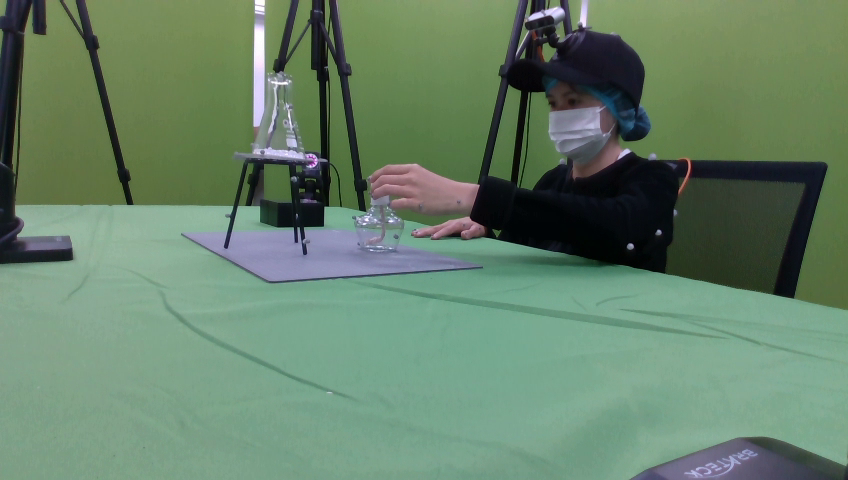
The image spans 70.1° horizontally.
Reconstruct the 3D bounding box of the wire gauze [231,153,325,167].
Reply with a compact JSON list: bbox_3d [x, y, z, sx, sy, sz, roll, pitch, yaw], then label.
[{"bbox_3d":[-0.215,-0.117,0.882,0.125,0.011,0.121,3,7,-19],"label":"wire gauze"}]

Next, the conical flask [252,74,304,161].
[{"bbox_3d":[-0.211,-0.177,0.879,0.075,0.122,0.075,3,6,0],"label":"conical flask"}]

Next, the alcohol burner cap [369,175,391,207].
[{"bbox_3d":[-0.068,-0.076,0.923,0.034,0.048,0.034,-1,10,0],"label":"alcohol burner cap"}]

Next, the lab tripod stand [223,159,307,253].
[{"bbox_3d":[-0.220,-0.053,0.896,0.148,0.131,0.148,1,6,0],"label":"lab tripod stand"}]

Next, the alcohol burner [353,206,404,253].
[{"bbox_3d":[-0.069,-0.040,0.927,0.078,0.119,0.078,1,9,0],"label":"alcohol burner"}]
